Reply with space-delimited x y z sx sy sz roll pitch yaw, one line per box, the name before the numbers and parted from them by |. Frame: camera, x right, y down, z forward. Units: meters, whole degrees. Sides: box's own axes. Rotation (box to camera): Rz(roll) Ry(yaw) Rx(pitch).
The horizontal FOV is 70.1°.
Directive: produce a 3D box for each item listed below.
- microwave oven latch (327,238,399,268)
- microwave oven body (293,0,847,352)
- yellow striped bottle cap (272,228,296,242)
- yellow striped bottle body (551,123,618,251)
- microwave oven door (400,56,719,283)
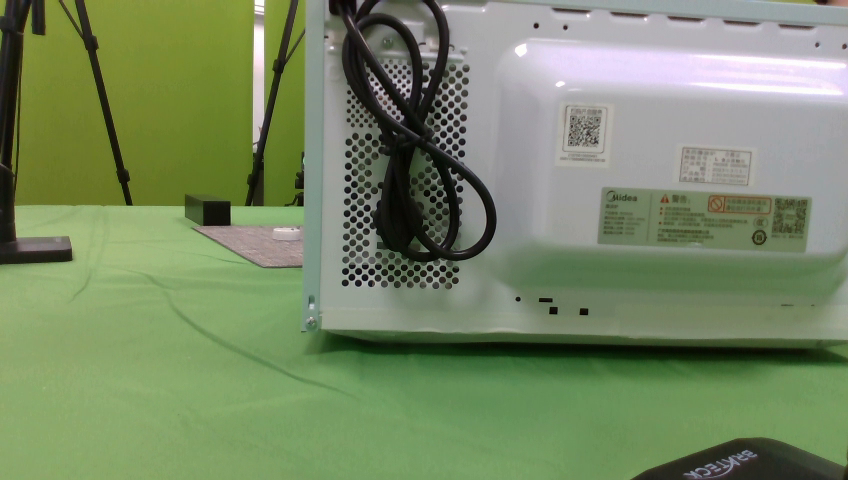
microwave oven latch | -0.069 0.015 0.694 0.079 0.029 0.030 3 7 -3
microwave oven body | 0.122 -0.055 0.550 0.442 0.260 0.325 3 7 -5
yellow striped bottle cap | -0.232 -0.008 1.011 0.044 0.018 0.044 4 8 0
yellow striped bottle body | 0.155 -0.051 0.585 0.063 0.120 0.063 -1 4 0
microwave oven door | 0.155 -0.077 0.698 0.356 0.243 0.039 2 8 -5
